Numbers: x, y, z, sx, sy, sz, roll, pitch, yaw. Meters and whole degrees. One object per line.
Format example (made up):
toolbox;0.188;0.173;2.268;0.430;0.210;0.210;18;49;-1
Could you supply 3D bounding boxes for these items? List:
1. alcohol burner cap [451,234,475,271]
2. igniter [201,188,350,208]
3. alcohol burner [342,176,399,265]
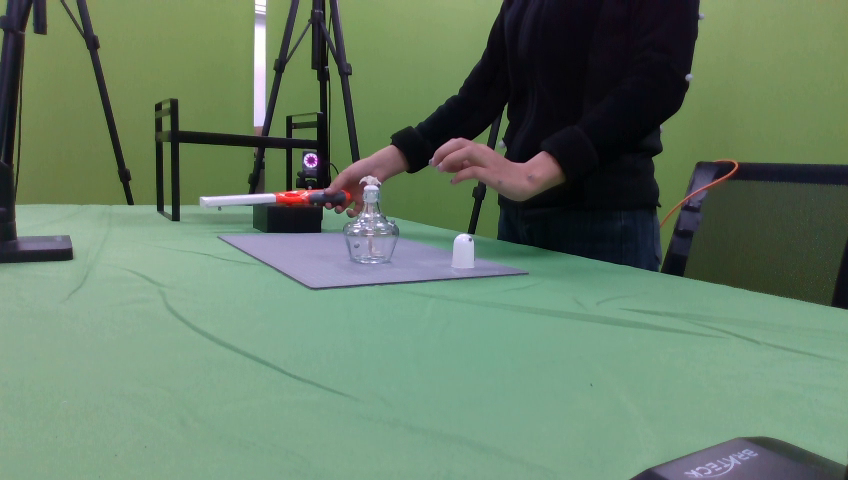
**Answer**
alcohol burner cap;0.053;0.016;0.808;0.034;0.048;0.034;2;8;0
igniter;-0.273;-0.080;1.142;0.278;0.025;0.057;-6;15;-30
alcohol burner;-0.073;-0.027;0.818;0.078;0.119;0.078;1;6;0
